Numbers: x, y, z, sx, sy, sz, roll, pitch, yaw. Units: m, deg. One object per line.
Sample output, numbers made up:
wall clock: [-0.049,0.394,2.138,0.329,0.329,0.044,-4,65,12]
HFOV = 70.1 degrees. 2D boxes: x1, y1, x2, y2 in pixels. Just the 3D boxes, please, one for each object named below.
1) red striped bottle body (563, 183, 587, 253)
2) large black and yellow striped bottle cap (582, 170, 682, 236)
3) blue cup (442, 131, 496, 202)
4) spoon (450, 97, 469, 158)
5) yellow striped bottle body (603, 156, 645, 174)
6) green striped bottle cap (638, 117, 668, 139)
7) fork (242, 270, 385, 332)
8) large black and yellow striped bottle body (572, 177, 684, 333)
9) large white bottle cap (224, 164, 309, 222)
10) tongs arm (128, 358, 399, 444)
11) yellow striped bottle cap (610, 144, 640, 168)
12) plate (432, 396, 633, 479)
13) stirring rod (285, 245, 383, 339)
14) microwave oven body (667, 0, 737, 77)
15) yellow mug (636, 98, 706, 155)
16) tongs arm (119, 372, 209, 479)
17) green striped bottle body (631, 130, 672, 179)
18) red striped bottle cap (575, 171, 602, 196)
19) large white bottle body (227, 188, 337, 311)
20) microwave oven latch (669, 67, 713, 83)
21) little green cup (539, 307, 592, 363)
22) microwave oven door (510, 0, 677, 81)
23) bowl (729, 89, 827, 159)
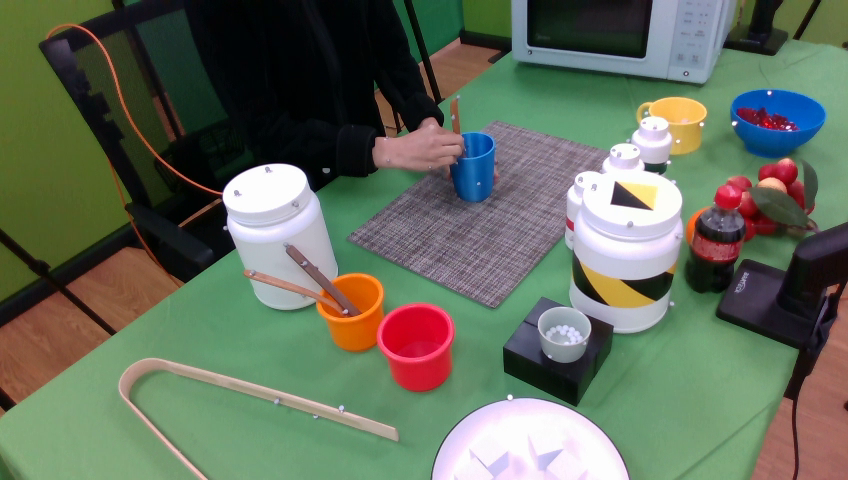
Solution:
red striped bottle body: [0.246,-0.041,0.910,0.063,0.120,0.062,-2,38,2]
large black and yellow striped bottle cap: [0.252,-0.048,0.735,0.115,0.019,0.114,-3,40,3]
blue cup: [0.083,-0.121,1.039,0.092,0.100,0.092,-4,42,4]
spoon: [0.062,-0.156,0.997,0.042,0.195,0.021,-29,47,-9]
yellow striped bottle body: [0.313,-0.089,0.956,0.063,0.121,0.062,-4,40,4]
green striped bottle cap: [0.369,-0.180,0.974,0.044,0.020,0.044,-4,41,4]
fork: [-0.142,0.082,0.802,0.209,0.018,0.028,28,38,-26]
large black and yellow striped bottle body: [0.262,0.017,0.788,0.131,0.185,0.130,-5,40,4]
large white bottle cap: [-0.216,-0.066,0.829,0.115,0.018,0.114,-4,40,4]
tongs arm: [-0.213,0.205,0.755,0.382,0.026,0.051,12,46,23]
yellow striped bottle cap: [0.307,-0.128,0.923,0.044,0.019,0.044,-5,40,5]
plate: [0.112,0.261,0.634,0.209,0.038,0.208,-5,40,4]
stirring rod: [-0.121,0.071,0.819,0.176,0.006,0.014,44,52,-6]
microwave oven body: [0.462,-0.552,1.368,0.439,0.261,0.326,14,45,26]
yellow mug: [0.453,-0.217,1.128,0.100,0.064,0.129,-34,46,-27]
tongs arm: [-0.258,0.257,0.700,0.384,0.028,0.028,24,55,34]
green striped bottle body: [0.375,-0.140,1.007,0.063,0.120,0.063,-5,40,4]
red striped bottle cap: [0.242,-0.081,0.876,0.044,0.018,0.044,-5,44,5]
large white bottle body: [-0.207,-0.002,0.883,0.130,0.185,0.130,-4,40,4]
microwave oven latch: [0.556,-0.349,1.261,0.078,0.029,0.030,16,46,27]
little green cup: [0.168,0.115,0.721,0.061,0.039,0.061,-4,42,4]
microwave oven door: [0.354,-0.478,1.290,0.353,0.245,0.039,15,45,25]
bowl: [0.615,-0.197,1.069,0.151,0.077,0.150,-5,40,5]
